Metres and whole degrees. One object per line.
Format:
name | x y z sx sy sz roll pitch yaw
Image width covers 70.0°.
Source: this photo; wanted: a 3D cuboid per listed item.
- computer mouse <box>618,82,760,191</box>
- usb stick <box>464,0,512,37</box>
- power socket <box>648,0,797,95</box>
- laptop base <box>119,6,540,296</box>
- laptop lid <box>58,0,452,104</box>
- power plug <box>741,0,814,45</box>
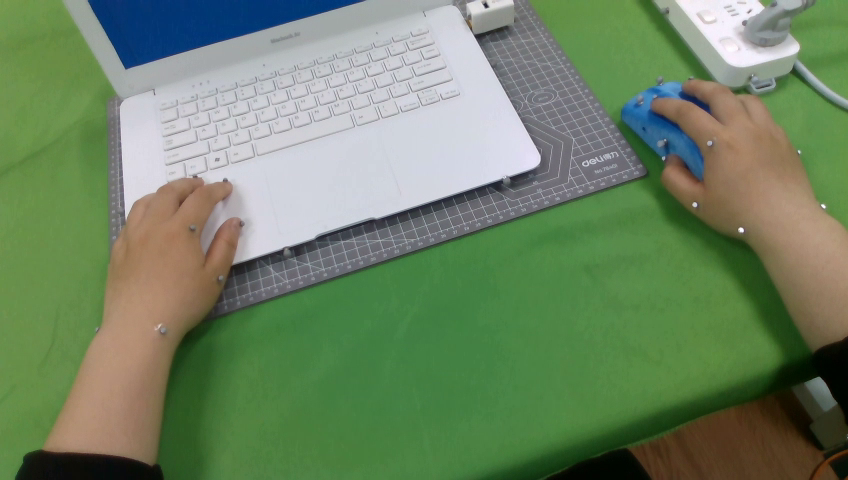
computer mouse | 0.219 -0.094 0.507 0.063 0.041 0.116 -27 53 -8
usb stick | 0.058 -0.224 0.609 0.059 0.027 0.021 -20 56 -1
power socket | 0.274 -0.229 0.592 0.072 0.033 0.224 -15 56 -2
laptop base | -0.100 -0.096 0.560 0.354 0.023 0.233 -18 60 -5
laptop lid | -0.157 -0.270 0.543 0.357 0.244 0.013 -19 43 -4
power plug | 0.319 -0.190 0.534 0.072 0.053 0.035 -6 58 4
